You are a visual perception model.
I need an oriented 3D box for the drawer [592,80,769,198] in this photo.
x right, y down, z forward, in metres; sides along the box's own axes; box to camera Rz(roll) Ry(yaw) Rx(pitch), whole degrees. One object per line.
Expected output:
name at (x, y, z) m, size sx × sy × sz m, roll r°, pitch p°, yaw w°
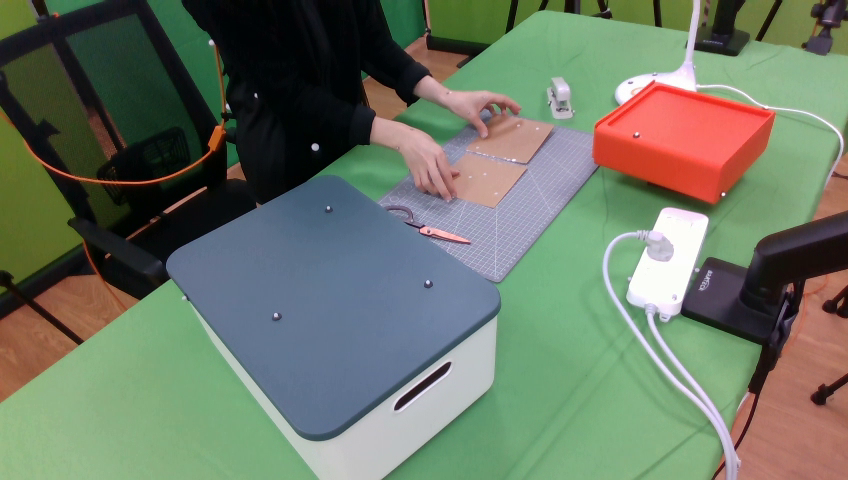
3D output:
drawer at (0.422, -0.174, 1.008) m, size 0.210 × 0.073 × 0.195 m, roll 30°, pitch 52°, yaw 35°

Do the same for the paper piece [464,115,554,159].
paper piece at (0.169, -0.203, 1.191) m, size 0.137 × 0.009 × 0.136 m, roll 16°, pitch 45°, yaw 30°

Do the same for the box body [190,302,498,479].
box body at (-0.110, 0.103, 0.761) m, size 0.255 × 0.161 × 0.361 m, roll -33°, pitch 46°, yaw -27°

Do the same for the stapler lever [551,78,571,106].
stapler lever at (0.286, -0.320, 1.270) m, size 0.027 × 0.040 × 0.117 m, roll -1°, pitch 38°, yaw 3°

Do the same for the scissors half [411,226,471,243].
scissors half at (-0.007, -0.010, 0.992) m, size 0.174 × 0.013 × 0.040 m, roll 8°, pitch 45°, yaw 15°

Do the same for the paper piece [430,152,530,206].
paper piece at (0.102, -0.115, 1.103) m, size 0.135 × 0.004 × 0.136 m, roll 21°, pitch 47°, yaw 29°

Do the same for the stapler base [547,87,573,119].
stapler base at (0.289, -0.299, 1.286) m, size 0.041 × 0.024 × 0.130 m, roll -1°, pitch 39°, yaw 3°

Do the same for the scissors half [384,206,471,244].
scissors half at (0.001, -0.024, 1.005) m, size 0.174 × 0.013 × 0.040 m, roll 22°, pitch 55°, yaw 25°

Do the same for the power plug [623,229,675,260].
power plug at (0.327, 0.007, 0.878) m, size 0.072 × 0.053 × 0.035 m, roll 25°, pitch 51°, yaw 32°

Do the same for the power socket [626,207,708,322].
power socket at (0.360, 0.026, 0.886) m, size 0.072 × 0.033 × 0.227 m, roll 16°, pitch 46°, yaw 26°

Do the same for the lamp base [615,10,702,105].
lamp base at (0.484, -0.364, 1.211) m, size 0.180 × 0.181 × 0.159 m, roll -15°, pitch 41°, yaw -14°

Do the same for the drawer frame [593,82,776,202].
drawer frame at (0.428, -0.171, 1.006) m, size 0.211 × 0.083 × 0.202 m, roll 29°, pitch 51°, yaw 36°

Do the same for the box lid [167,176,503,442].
box lid at (-0.119, 0.047, 0.714) m, size 0.264 × 0.015 × 0.368 m, roll -32°, pitch 47°, yaw -27°
